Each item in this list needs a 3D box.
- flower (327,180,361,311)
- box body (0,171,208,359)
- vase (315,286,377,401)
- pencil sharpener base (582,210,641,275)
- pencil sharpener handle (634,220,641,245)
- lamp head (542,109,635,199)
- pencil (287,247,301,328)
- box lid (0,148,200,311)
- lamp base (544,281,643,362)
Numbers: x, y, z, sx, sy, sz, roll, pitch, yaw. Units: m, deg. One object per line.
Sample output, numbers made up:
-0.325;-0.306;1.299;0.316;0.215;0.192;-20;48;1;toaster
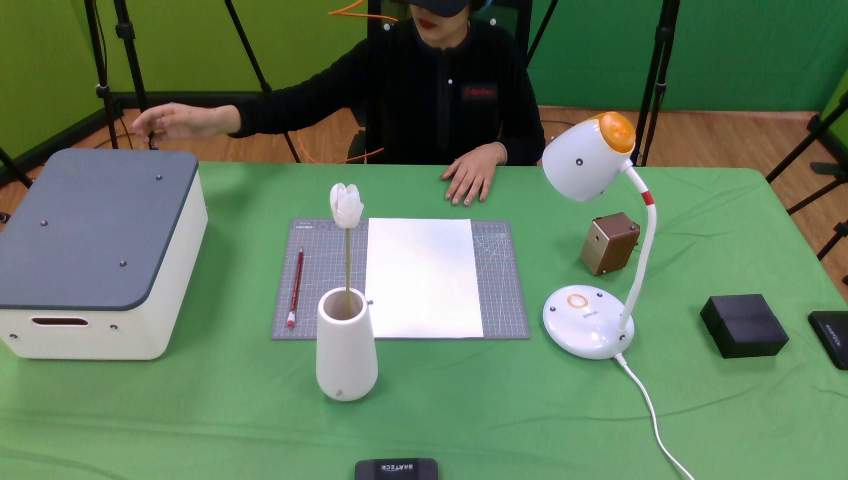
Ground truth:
-0.110;0.087;0.867;0.044;0.363;0.038;22;33;36;flower
-0.541;0.021;1.042;0.254;0.161;0.361;1;46;-3;box body
-0.119;0.159;0.911;0.098;0.201;0.097;2;47;-2;vase
0.357;0.005;1.156;0.077;0.107;0.061;-15;48;-18;pencil sharpener base
0.405;-0.015;1.161;0.031;0.068;0.035;-15;44;-18;pencil sharpener handle
0.253;-0.131;0.893;0.113;0.123;0.112;10;66;-24;lamp head
-0.236;0.081;1.107;0.012;0.012;0.193;0;45;-4;pencil
-0.536;-0.034;0.990;0.263;0.015;0.369;1;45;-3;box lid
0.303;0.095;1.014;0.161;0.181;0.178;-24;54;-24;lamp base
